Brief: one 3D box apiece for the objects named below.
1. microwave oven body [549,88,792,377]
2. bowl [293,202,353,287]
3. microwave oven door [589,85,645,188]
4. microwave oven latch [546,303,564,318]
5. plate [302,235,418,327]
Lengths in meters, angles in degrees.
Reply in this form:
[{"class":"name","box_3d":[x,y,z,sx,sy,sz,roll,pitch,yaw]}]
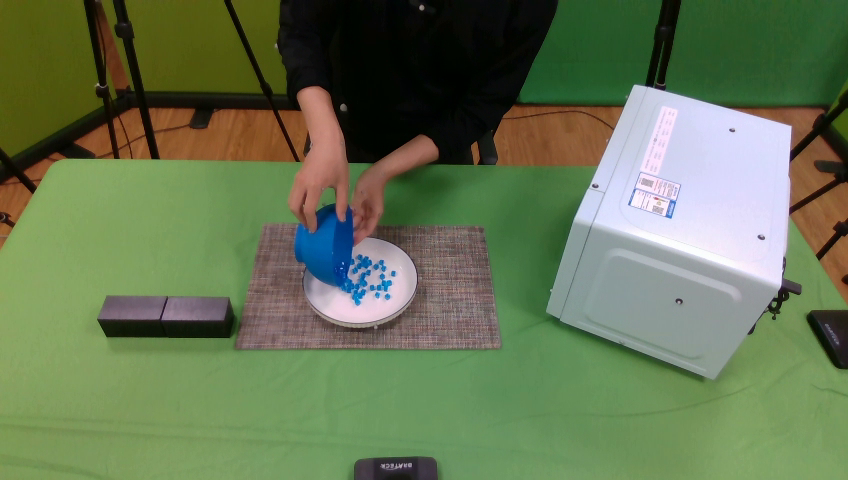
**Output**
[{"class":"microwave oven body","box_3d":[0.456,-0.028,1.088,0.325,0.261,0.440,20,47,16]},{"class":"bowl","box_3d":[-0.179,0.005,1.054,0.077,0.152,0.150,4,46,6]},{"class":"microwave oven door","box_3d":[0.342,-0.107,1.149,0.039,0.245,0.354,20,48,15]},{"class":"microwave oven latch","box_3d":[0.242,0.102,1.081,0.030,0.029,0.079,21,48,17]},{"class":"plate","box_3d":[-0.115,0.077,1.098,0.208,0.039,0.206,2,46,-2]}]
